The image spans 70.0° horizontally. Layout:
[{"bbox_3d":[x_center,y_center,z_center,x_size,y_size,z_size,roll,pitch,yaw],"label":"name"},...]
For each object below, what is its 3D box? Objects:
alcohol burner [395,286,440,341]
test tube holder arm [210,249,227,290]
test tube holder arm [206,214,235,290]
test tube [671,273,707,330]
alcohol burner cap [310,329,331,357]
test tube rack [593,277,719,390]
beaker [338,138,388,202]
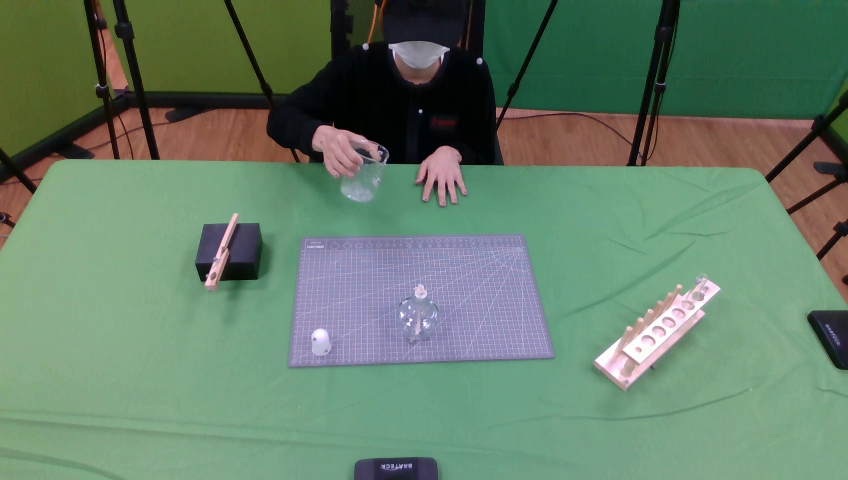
[{"bbox_3d":[-0.010,0.116,1.018,0.078,0.119,0.077,3,47,-3],"label":"alcohol burner"},{"bbox_3d":[-0.359,0.050,1.059,0.010,0.015,0.087,8,45,-8],"label":"test tube holder arm"},{"bbox_3d":[-0.364,0.017,1.090,0.013,0.015,0.177,7,45,-8],"label":"test tube holder arm"},{"bbox_3d":[0.443,0.106,1.018,0.017,0.151,0.017,-1,49,1],"label":"test tube"},{"bbox_3d":[-0.173,0.168,1.005,0.034,0.048,0.033,2,46,-2],"label":"alcohol burner cap"},{"bbox_3d":[0.401,0.148,1.043,0.242,0.085,0.066,-30,55,-29],"label":"test tube rack"},{"bbox_3d":[-0.115,-0.127,1.134,0.074,0.100,0.083,-18,50,-44],"label":"beaker"}]
